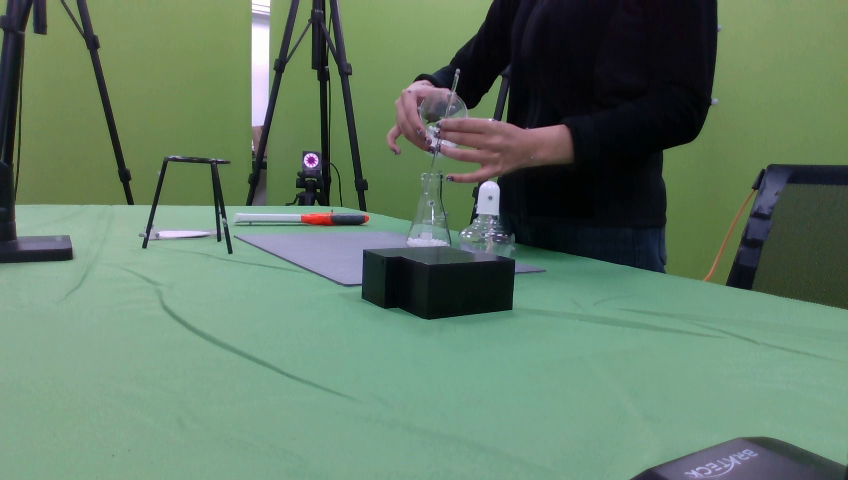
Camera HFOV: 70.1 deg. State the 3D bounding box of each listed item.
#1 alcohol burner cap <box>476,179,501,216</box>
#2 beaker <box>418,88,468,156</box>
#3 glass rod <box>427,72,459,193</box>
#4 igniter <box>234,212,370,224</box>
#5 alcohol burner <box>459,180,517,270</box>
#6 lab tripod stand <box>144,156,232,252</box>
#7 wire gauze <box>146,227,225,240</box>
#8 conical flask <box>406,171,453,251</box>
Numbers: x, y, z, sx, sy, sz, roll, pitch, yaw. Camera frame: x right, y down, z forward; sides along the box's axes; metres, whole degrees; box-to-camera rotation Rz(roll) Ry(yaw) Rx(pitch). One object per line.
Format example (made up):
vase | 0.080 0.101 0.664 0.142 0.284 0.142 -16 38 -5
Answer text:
alcohol burner cap | 0.086 -0.057 0.801 0.034 0.048 0.034 3 3 0
beaker | 0.027 -0.180 0.960 0.074 0.084 0.100 8 -14 -1
glass rod | 0.026 -0.153 0.895 0.008 0.199 0.008 9 35 -6
igniter | -0.247 -0.046 1.253 0.278 0.025 0.057 -1 -3 -27
alcohol burner | 0.086 -0.021 0.805 0.078 0.119 0.078 3 10 0
lab tripod stand | -0.325 -0.054 0.881 0.148 0.131 0.148 4 7 0
wire gauze | -0.400 -0.012 1.019 0.122 0.011 0.124 -1 6 -26
conical flask | 0.011 -0.046 0.948 0.075 0.122 0.075 2 7 0
